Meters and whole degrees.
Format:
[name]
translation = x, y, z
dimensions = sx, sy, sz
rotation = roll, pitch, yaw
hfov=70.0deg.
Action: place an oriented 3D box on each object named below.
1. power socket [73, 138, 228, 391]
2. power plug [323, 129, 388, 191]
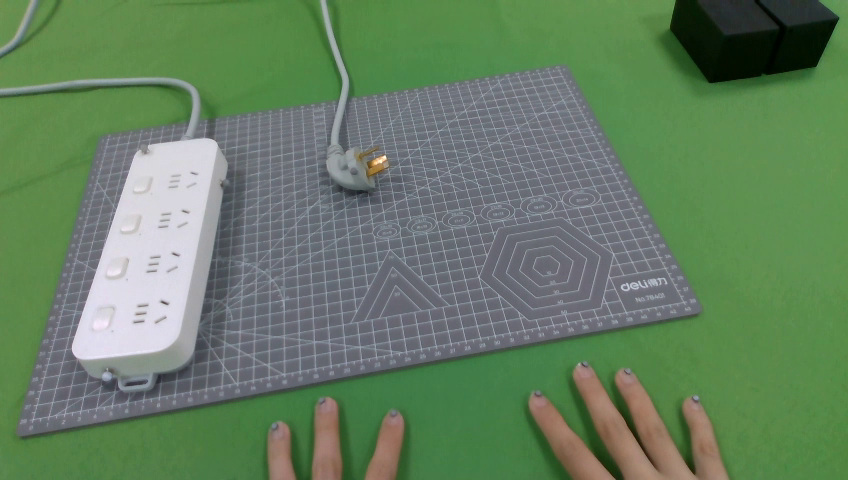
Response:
[power socket]
translation = -0.195, 0.003, 0.453
dimensions = 0.072, 0.033, 0.224
rotation = -6, 49, -1
[power plug]
translation = -0.058, -0.074, 0.498
dimensions = 0.052, 0.035, 0.072
rotation = -17, 69, 10
